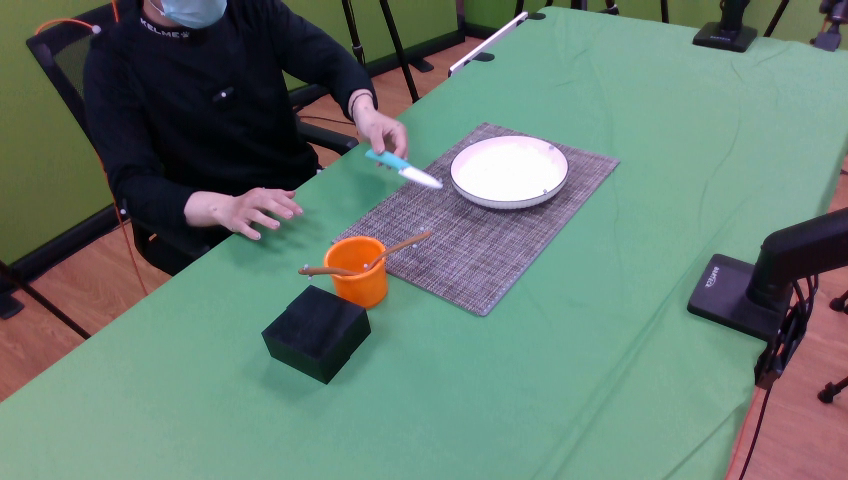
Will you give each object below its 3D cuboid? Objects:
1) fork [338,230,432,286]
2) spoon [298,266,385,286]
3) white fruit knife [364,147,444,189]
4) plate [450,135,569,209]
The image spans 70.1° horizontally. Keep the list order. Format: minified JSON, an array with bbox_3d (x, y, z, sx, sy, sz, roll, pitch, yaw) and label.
[{"bbox_3d":[-0.058,0.028,0.846,0.206,0.018,0.028,-34,5,43],"label":"fork"},{"bbox_3d":[-0.111,0.047,0.826,0.041,0.195,0.021,-25,71,23],"label":"spoon"},{"bbox_3d":[-0.032,-0.115,0.970,0.027,0.016,0.205,-39,41,-18],"label":"white fruit knife"},{"bbox_3d":[0.149,-0.117,1.066,0.209,0.038,0.208,-3,41,3],"label":"plate"}]
